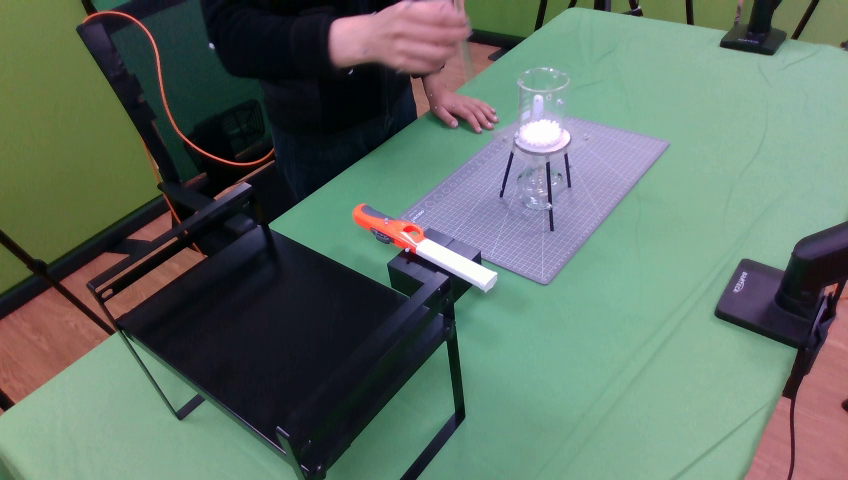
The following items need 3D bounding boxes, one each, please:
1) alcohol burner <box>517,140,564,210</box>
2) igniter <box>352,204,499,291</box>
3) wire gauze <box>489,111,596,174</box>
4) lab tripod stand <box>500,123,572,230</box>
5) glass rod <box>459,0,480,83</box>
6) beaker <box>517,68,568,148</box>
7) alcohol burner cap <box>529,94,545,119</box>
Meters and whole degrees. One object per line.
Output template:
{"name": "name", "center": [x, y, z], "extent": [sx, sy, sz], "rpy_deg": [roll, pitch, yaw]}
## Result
{"name": "alcohol burner", "center": [0.193, -0.110, 1.001], "extent": [0.078, 0.119, 0.077], "rpy_deg": [-5, 38, 5]}
{"name": "igniter", "center": [-0.009, 0.005, 0.895], "extent": [0.274, 0.025, 0.057], "rpy_deg": [27, 48, 32]}
{"name": "wire gauze", "center": [0.183, -0.159, 0.943], "extent": [0.122, 0.011, 0.124], "rpy_deg": [-25, 47, -17]}
{"name": "lab tripod stand", "center": [0.194, -0.110, 0.985], "extent": [0.148, 0.132, 0.147], "rpy_deg": [-3, 41, 3]}
{"name": "glass rod", "center": [0.051, -0.260, 0.728], "extent": [0.008, 0.201, 0.008], "rpy_deg": [-6, 60, 11]}
{"name": "beaker", "center": [0.179, -0.198, 0.914], "extent": [0.073, 0.100, 0.084], "rpy_deg": [25, 49, 31]}
{"name": "alcohol burner cap", "center": [0.233, -0.277, 1.247], "extent": [0.034, 0.048, 0.033], "rpy_deg": [-5, 41, 5]}
